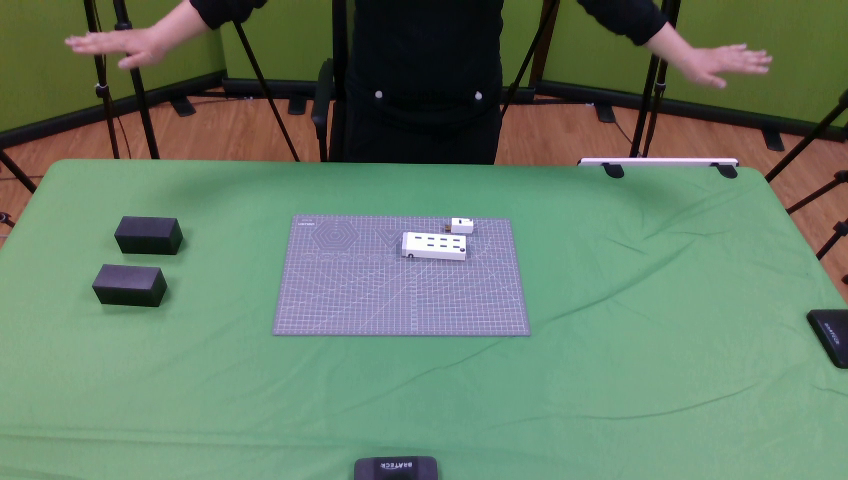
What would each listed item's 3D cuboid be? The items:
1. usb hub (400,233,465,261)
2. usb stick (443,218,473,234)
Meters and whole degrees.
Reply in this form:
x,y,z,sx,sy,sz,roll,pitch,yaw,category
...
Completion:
x,y,z,sx,sy,sz,roll,pitch,yaw,category
0.018,0.013,1.180,0.125,0.025,0.049,4,46,0,usb hub
0.068,-0.028,1.222,0.059,0.027,0.021,1,45,0,usb stick
